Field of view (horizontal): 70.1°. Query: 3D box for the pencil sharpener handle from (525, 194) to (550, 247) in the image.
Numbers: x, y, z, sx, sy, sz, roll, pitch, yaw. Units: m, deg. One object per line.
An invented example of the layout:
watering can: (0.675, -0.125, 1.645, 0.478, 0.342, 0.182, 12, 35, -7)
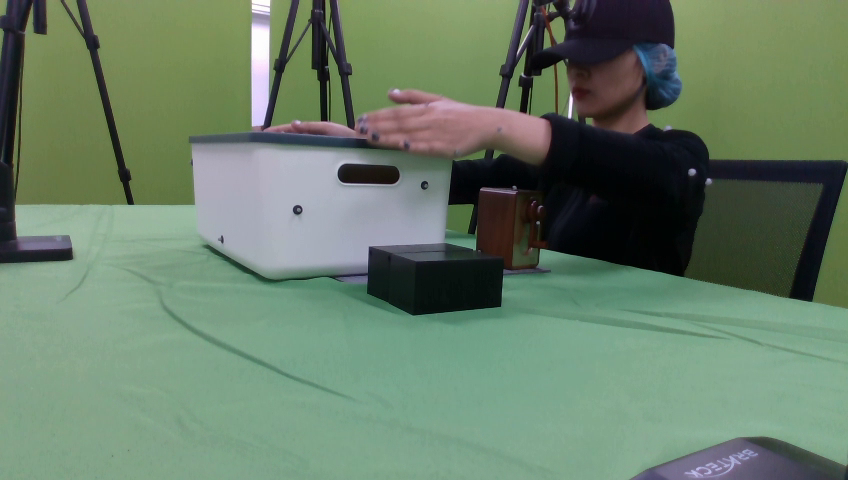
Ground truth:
pencil sharpener handle: (0.152, -0.025, 0.784, 0.036, 0.067, 0.030, 1, 7, -41)

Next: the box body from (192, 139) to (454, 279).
box body: (-0.157, -0.058, 0.838, 0.255, 0.160, 0.362, -2, 8, -32)

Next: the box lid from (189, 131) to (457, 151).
box lid: (-0.153, -0.131, 0.826, 0.265, 0.015, 0.369, -3, 9, -32)

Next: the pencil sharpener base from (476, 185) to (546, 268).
pencil sharpener base: (0.119, -0.019, 0.825, 0.062, 0.107, 0.076, -3, 9, -40)
